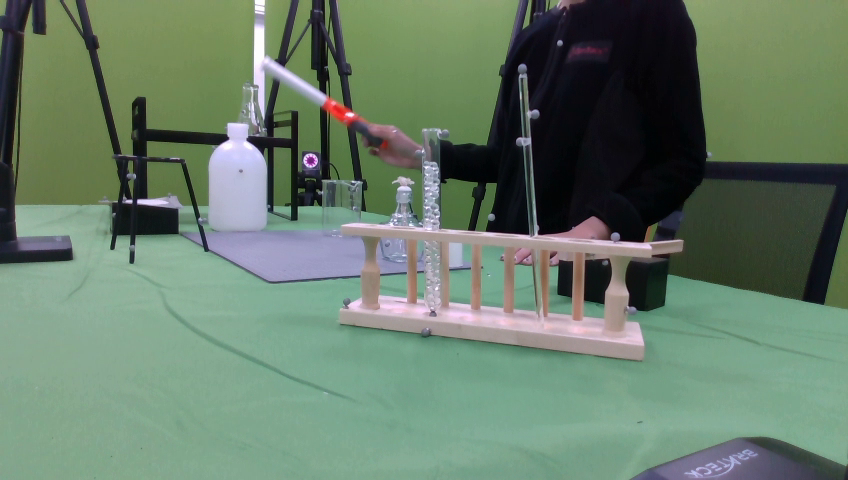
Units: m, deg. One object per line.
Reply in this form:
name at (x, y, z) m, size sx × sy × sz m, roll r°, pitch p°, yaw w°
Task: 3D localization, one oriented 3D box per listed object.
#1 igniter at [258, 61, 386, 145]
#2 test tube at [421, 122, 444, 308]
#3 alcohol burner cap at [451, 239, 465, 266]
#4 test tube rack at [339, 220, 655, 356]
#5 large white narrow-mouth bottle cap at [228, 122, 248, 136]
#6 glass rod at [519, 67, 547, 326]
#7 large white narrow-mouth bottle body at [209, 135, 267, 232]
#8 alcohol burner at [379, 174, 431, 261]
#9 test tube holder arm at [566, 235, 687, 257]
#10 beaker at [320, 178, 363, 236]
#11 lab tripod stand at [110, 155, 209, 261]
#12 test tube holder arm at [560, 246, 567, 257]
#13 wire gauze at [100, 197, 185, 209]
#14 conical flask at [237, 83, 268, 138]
igniter at (-0.189, -0.259, 1.165) m, size 0.278 × 0.025 × 0.057 m, roll 28°, pitch 25°, yaw -26°
test tube at (0.007, -0.019, 0.486) m, size 0.017 × 0.150 × 0.017 m, roll -1°, pitch 8°, yaw 0°
alcohol burner cap at (0.041, 0.010, 0.815) m, size 0.034 × 0.048 × 0.034 m, roll 4°, pitch 8°, yaw 0°
test tube rack at (0.056, 0.032, 0.495) m, size 0.242 × 0.085 × 0.067 m, roll 4°, pitch 7°, yaw 15°
large white narrow-mouth bottle cap at (-0.338, -0.200, 1.097) m, size 0.038 × 0.024 × 0.037 m, roll 2°, pitch 8°, yaw 0°
glass rod at (0.084, -0.029, 0.458) m, size 0.008 × 0.199 × 0.008 m, roll -6°, pitch 11°, yaw 2°
large white narrow-mouth bottle body at (-0.340, -0.115, 1.109) m, size 0.102 × 0.194 × 0.102 m, roll 2°, pitch 8°, yaw 0°
alcohol burner at (-0.027, -0.031, 0.838) m, size 0.078 × 0.119 × 0.078 m, roll 0°, pitch 6°, yaw 0°
test tube holder arm at (0.215, 0.006, 0.630) m, size 0.179 × 0.015 × 0.013 m, roll -3°, pitch 9°, yaw -31°
beaker at (-0.145, -0.059, 1.078) m, size 0.074 × 0.100 × 0.083 m, roll -4°, pitch 10°, yaw -35°
lab tripod stand at (-0.361, -0.046, 0.806) m, size 0.148 × 0.131 × 0.148 m, roll 2°, pitch 5°, yaw 0°
test tube holder arm at (0.173, 0.007, 0.611) m, size 0.088 × 0.015 × 0.010 m, roll -3°, pitch 9°, yaw -30°
wire gauze at (-0.469, -0.062, 1.008) m, size 0.126 × 0.011 × 0.121 m, roll -2°, pitch 8°, yaw -25°
conical flask at (-0.402, -0.299, 1.406) m, size 0.075 × 0.122 × 0.075 m, roll 2°, pitch 7°, yaw 0°
